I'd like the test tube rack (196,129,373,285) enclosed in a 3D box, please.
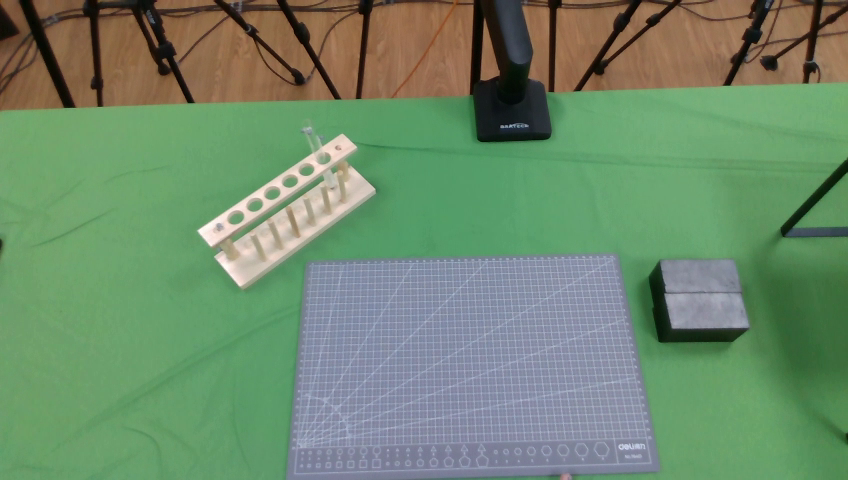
[{"bbox_3d":[-0.189,-0.048,0.861,0.242,0.086,0.066,-39,67,-19],"label":"test tube rack"}]

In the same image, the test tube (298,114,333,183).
[{"bbox_3d":[-0.149,-0.124,0.846,0.017,0.151,0.017,-2,63,4],"label":"test tube"}]
